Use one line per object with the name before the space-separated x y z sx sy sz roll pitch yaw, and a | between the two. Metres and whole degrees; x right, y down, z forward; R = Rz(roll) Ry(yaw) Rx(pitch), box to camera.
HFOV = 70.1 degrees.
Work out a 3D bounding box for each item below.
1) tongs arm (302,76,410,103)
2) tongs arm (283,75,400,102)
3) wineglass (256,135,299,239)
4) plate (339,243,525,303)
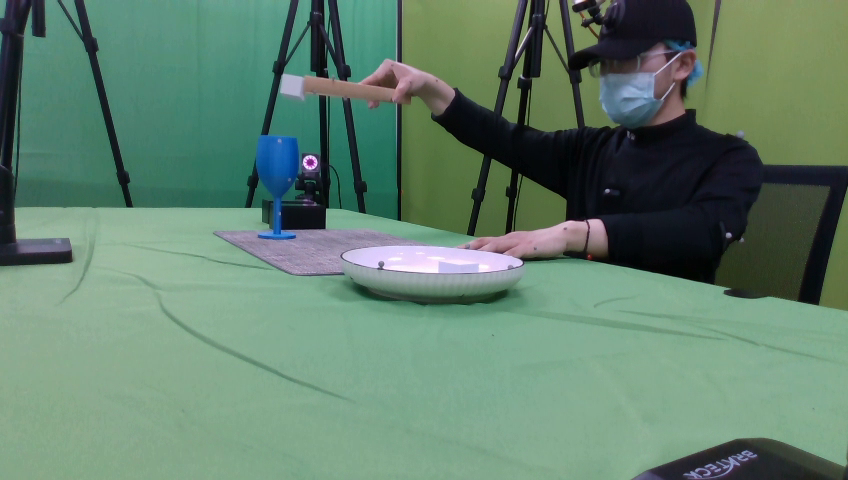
tongs arm | -0.121 -0.281 1.142 0.050 0.026 0.386 9 13 27
tongs arm | -0.144 -0.285 1.152 0.028 0.028 0.389 4 11 25
wineglass | -0.252 -0.091 1.035 0.074 0.172 0.073 2 7 0
plate | 0.008 0.035 0.682 0.209 0.038 0.209 3 7 0
